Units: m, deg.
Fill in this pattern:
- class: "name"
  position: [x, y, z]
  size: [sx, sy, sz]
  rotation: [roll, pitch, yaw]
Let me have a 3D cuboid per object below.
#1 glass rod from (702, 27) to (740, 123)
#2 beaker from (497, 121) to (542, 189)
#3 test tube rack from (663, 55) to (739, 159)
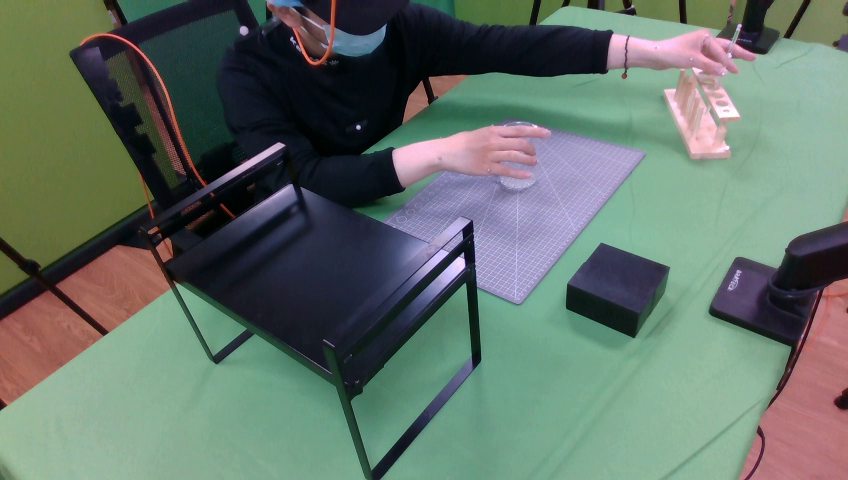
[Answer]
- class: "glass rod"
  position: [0.526, -0.287, 1.077]
  size: [0.008, 0.200, 0.008]
  rotation: [-2, 50, 2]
- class: "beaker"
  position: [0.169, -0.147, 1.053]
  size: [0.084, 0.101, 0.073]
  rotation: [-24, 43, -18]
- class: "test tube rack"
  position: [0.518, -0.256, 1.144]
  size: [0.066, 0.085, 0.241]
  rotation: [-1, 41, 8]
